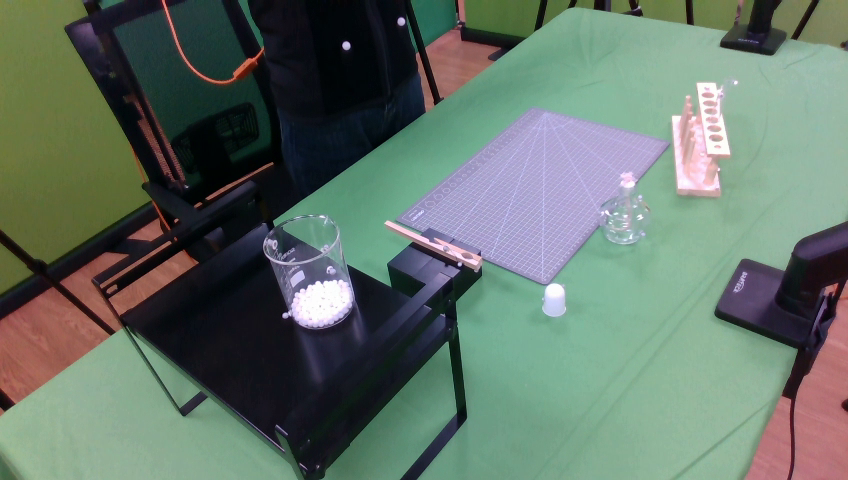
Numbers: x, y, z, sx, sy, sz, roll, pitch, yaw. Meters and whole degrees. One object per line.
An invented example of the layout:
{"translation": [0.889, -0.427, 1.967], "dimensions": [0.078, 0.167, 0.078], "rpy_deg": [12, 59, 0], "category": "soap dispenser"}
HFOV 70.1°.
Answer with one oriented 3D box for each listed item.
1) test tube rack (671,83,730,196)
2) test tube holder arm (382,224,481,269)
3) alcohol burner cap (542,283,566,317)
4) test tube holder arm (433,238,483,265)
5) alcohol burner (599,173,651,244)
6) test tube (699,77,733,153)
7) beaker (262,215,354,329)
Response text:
{"translation": [0.482, -0.184, 1.067], "dimensions": [0.066, 0.085, 0.242], "rpy_deg": [5, 42, 15], "category": "test tube rack"}
{"translation": [0.007, 0.008, 0.896], "dimensions": [0.177, 0.015, 0.013], "rpy_deg": [19, 49, 30], "category": "test tube holder arm"}
{"translation": [0.181, 0.081, 0.839], "dimensions": [0.034, 0.048, 0.033], "rpy_deg": [-3, 40, 3], "category": "alcohol burner cap"}
{"translation": [0.047, 0.017, 0.876], "dimensions": [0.087, 0.015, 0.010], "rpy_deg": [21, 50, 31], "category": "test tube holder arm"}
{"translation": [0.307, -0.052, 0.920], "dimensions": [0.078, 0.119, 0.077], "rpy_deg": [-6, 42, 6], "category": "alcohol burner"}
{"translation": [0.489, -0.207, 1.017], "dimensions": [0.017, 0.151, 0.017], "rpy_deg": [-2, 48, 3], "category": "test tube"}
{"translation": [-0.112, 0.034, 0.616], "dimensions": [0.073, 0.101, 0.084], "rpy_deg": [13, 44, 23], "category": "beaker"}
